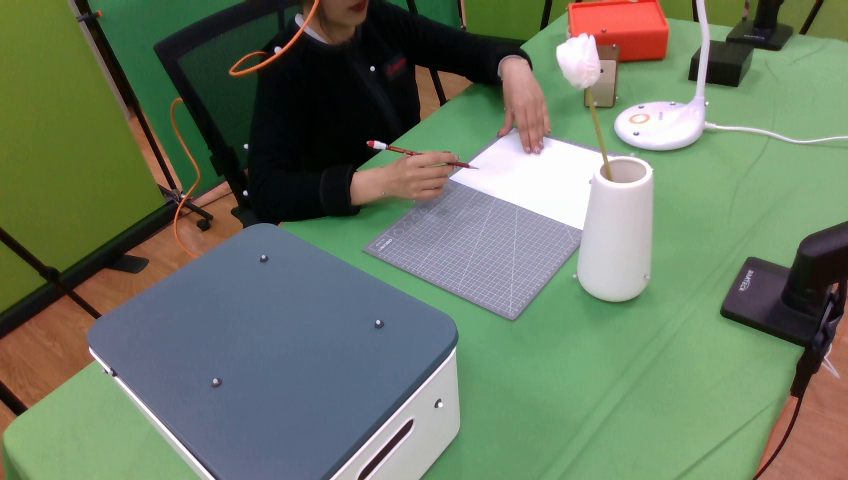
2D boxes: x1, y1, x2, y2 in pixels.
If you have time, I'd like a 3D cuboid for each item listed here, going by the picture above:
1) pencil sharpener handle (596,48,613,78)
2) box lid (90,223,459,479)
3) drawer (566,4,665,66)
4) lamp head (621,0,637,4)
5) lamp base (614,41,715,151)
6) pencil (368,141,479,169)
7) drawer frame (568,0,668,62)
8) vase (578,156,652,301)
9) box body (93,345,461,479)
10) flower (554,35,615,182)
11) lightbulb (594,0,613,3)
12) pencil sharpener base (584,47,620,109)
[{"bbox_3d":[0.382,-0.378,1.277,0.036,0.068,0.030,4,41,21],"label":"pencil sharpener handle"},{"bbox_3d":[-0.174,0.102,0.666,0.368,0.015,0.264,24,48,35],"label":"box lid"},{"bbox_3d":[0.447,-0.493,1.440,0.211,0.073,0.194,0,40,10],"label":"drawer"},{"bbox_3d":[0.319,-0.453,0.962,0.113,0.123,0.112,20,33,-13],"label":"lamp head"},{"bbox_3d":[0.449,-0.277,1.106,0.179,0.181,0.160,1,41,9],"label":"lamp base"},{"bbox_3d":[0.001,-0.140,1.010,0.195,0.012,0.012,11,38,-15],"label":"pencil"},{"bbox_3d":[0.450,-0.495,1.441,0.213,0.083,0.201,-1,40,9],"label":"drawer frame"},{"bbox_3d":[0.261,-0.011,0.812,0.098,0.201,0.097,-4,40,4],"label":"vase"},{"bbox_3d":[-0.162,0.170,0.708,0.361,0.161,0.255,25,50,34],"label":"box body"},{"bbox_3d":[0.237,-0.083,0.774,0.044,0.363,0.038,-22,26,7],"label":"flower"},{"bbox_3d":[0.305,-0.437,0.977,0.060,0.107,0.059,12,44,-11],"label":"lightbulb"},{"bbox_3d":[0.367,-0.336,1.249,0.061,0.107,0.076,6,42,19],"label":"pencil sharpener base"}]
